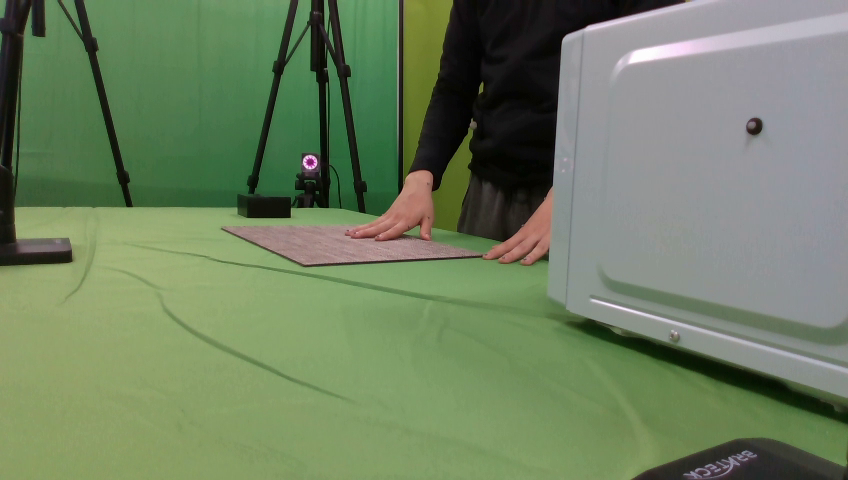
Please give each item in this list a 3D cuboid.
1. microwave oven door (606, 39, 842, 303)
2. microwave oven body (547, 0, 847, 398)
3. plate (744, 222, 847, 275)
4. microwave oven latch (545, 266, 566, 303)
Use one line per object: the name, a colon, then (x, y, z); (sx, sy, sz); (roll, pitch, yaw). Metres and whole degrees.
microwave oven door: (0.341, -0.070, 0.654); (0.358, 0.243, 0.039); (-3, 9, -31)
microwave oven body: (0.378, -0.045, 0.509); (0.444, 0.260, 0.324); (-2, 8, -31)
plate: (0.407, 0.008, 0.553); (0.209, 0.038, 0.209); (2, 5, 0)
microwave oven latch: (0.147, 0.038, 0.555); (0.079, 0.029, 0.030); (-2, 7, -29)
